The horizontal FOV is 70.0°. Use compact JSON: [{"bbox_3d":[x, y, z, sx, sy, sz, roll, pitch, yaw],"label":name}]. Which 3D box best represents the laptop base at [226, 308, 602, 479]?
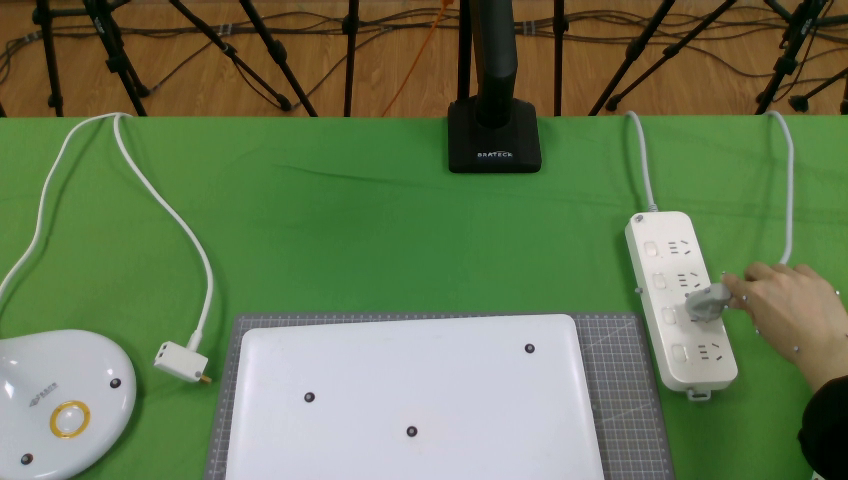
[{"bbox_3d":[-0.012,0.184,0.598,0.354,0.023,0.233,-3,62,-2],"label":"laptop base"}]

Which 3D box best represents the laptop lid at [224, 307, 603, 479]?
[{"bbox_3d":[-0.012,0.180,0.586,0.357,0.013,0.239,-1,61,0],"label":"laptop lid"}]

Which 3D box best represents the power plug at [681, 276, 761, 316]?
[{"bbox_3d":[0.304,0.061,0.624,0.072,0.053,0.035,5,55,11],"label":"power plug"}]

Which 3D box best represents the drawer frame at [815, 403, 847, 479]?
[{"bbox_3d":[0.480,0.212,0.532,0.200,0.083,0.213,34,60,18],"label":"drawer frame"}]

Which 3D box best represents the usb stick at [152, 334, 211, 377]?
[{"bbox_3d":[-0.244,0.121,0.621,0.021,0.060,0.027,-21,41,41],"label":"usb stick"}]

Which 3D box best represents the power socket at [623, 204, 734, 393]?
[{"bbox_3d":[0.276,0.054,0.669,0.072,0.033,0.224,-1,58,-1],"label":"power socket"}]

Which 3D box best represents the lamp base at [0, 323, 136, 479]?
[{"bbox_3d":[-0.387,0.111,0.549,0.178,0.182,0.160,23,60,17],"label":"lamp base"}]

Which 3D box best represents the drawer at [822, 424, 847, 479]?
[{"bbox_3d":[0.484,0.212,0.531,0.193,0.074,0.211,33,65,20],"label":"drawer"}]

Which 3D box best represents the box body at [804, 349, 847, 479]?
[{"bbox_3d":[0.462,0.234,0.480,0.253,0.162,0.363,29,63,17],"label":"box body"}]
